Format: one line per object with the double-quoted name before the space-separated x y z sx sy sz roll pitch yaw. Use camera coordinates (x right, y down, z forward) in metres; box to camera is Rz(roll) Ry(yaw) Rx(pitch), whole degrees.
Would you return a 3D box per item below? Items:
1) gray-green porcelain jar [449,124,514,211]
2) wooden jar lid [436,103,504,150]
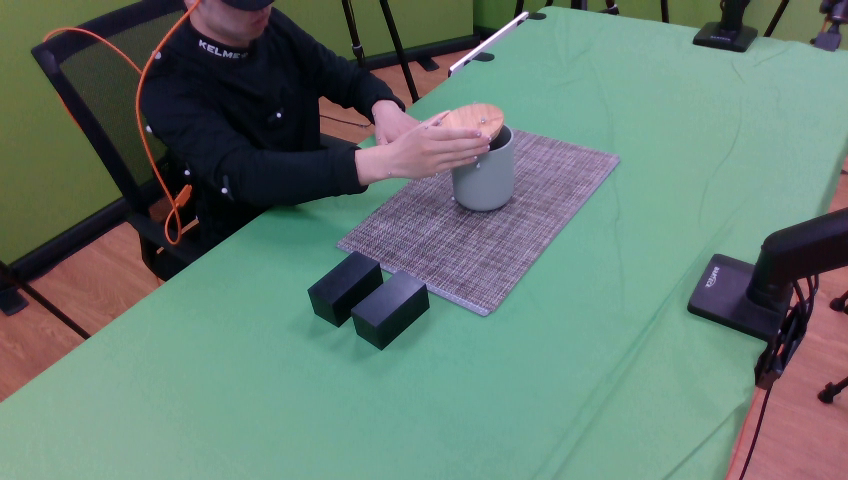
"gray-green porcelain jar" 0.097 -0.120 1.009 0.106 0.127 0.105 -4 41 4
"wooden jar lid" 0.073 -0.175 0.943 0.108 0.021 0.108 -12 41 11
